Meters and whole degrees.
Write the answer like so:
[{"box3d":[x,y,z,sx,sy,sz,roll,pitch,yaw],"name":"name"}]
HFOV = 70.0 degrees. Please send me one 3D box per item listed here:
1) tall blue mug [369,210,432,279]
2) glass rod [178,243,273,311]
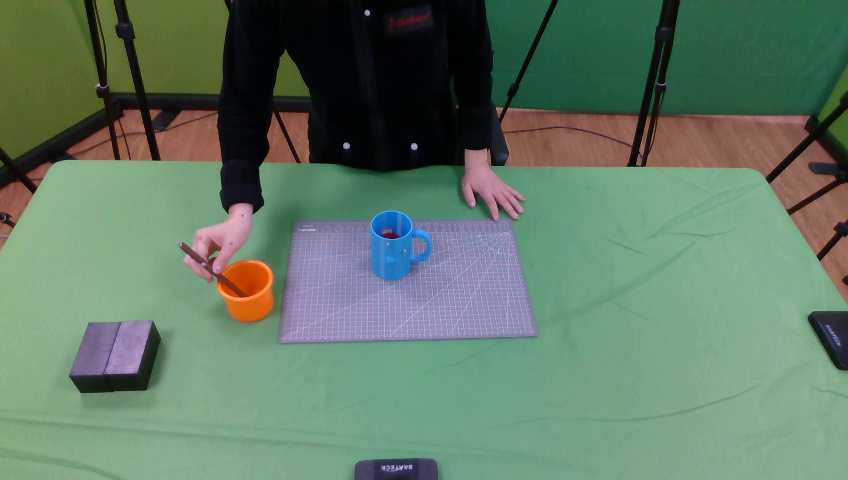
[{"box3d":[-0.049,0.005,1.125,0.107,0.108,0.077,-19,50,-21],"name":"tall blue mug"},{"box3d":[-0.327,0.065,1.011,0.008,0.201,0.008,-29,36,24],"name":"glass rod"}]
